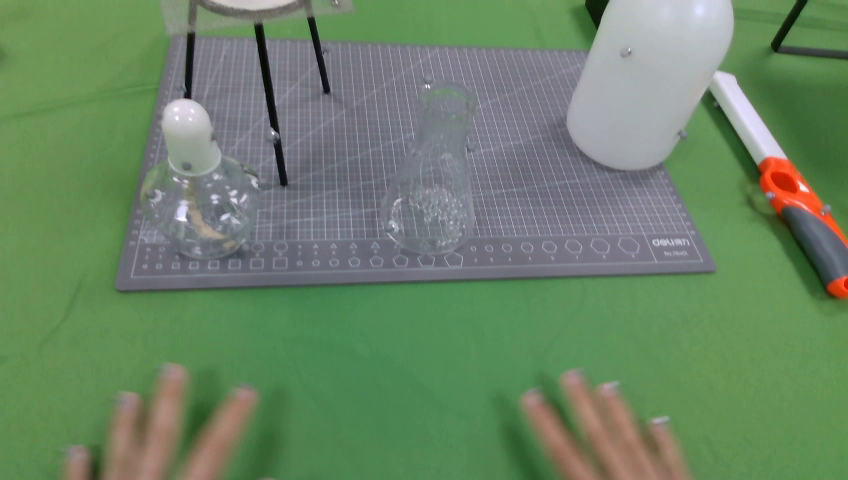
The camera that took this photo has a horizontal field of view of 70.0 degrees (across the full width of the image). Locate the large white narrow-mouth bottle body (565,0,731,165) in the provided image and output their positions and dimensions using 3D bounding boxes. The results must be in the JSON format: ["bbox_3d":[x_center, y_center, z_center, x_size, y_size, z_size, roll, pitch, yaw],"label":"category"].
[{"bbox_3d":[0.189,-0.161,0.499,0.102,0.196,0.101,4,51,-5],"label":"large white narrow-mouth bottle body"}]

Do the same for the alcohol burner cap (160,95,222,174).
[{"bbox_3d":[-0.146,-0.067,0.375,0.034,0.048,0.033,4,57,-6],"label":"alcohol burner cap"}]

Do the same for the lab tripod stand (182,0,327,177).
[{"bbox_3d":[-0.128,-0.144,0.473,0.149,0.132,0.147,6,52,-7],"label":"lab tripod stand"}]

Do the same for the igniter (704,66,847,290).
[{"bbox_3d":[0.323,-0.069,0.558,0.057,0.025,0.273,6,50,-17],"label":"igniter"}]

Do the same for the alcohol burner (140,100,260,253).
[{"bbox_3d":[-0.151,-0.046,0.404,0.078,0.120,0.077,6,50,-6],"label":"alcohol burner"}]

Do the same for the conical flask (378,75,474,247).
[{"bbox_3d":[0.008,-0.057,0.433,0.075,0.123,0.074,4,51,-5],"label":"conical flask"}]

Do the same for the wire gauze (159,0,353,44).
[{"bbox_3d":[-0.124,-0.187,0.423,0.122,0.011,0.124,-14,59,-17],"label":"wire gauze"}]
